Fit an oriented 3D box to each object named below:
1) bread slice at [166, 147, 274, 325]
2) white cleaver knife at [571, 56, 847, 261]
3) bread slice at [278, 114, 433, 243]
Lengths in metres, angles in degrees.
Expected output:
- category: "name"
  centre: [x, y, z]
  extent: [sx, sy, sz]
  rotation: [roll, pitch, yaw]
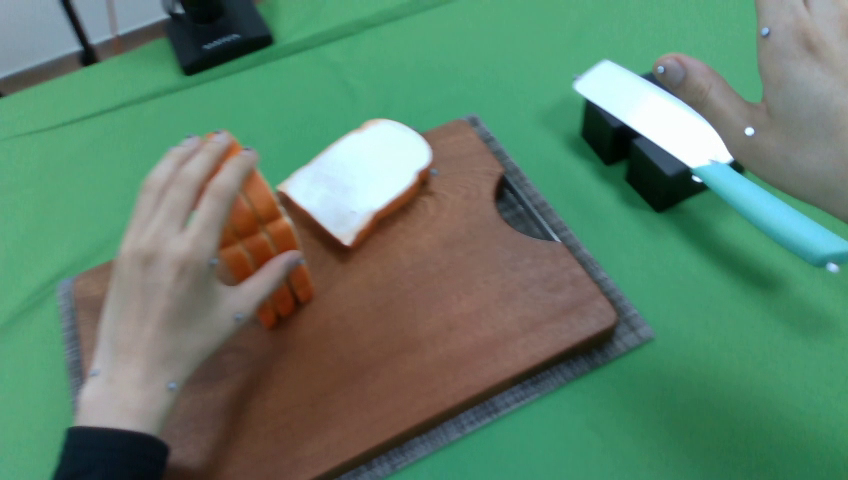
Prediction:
- category: "bread slice"
  centre: [-0.159, -0.009, 0.470]
  extent: [0.018, 0.135, 0.106]
  rotation: [-30, 53, -18]
- category: "white cleaver knife"
  centre: [0.242, -0.086, 0.524]
  extent: [0.066, 0.022, 0.283]
  rotation: [-32, 59, -15]
- category: "bread slice"
  centre: [-0.055, -0.063, 0.561]
  extent: [0.131, 0.019, 0.104]
  rotation: [-41, 57, -16]
